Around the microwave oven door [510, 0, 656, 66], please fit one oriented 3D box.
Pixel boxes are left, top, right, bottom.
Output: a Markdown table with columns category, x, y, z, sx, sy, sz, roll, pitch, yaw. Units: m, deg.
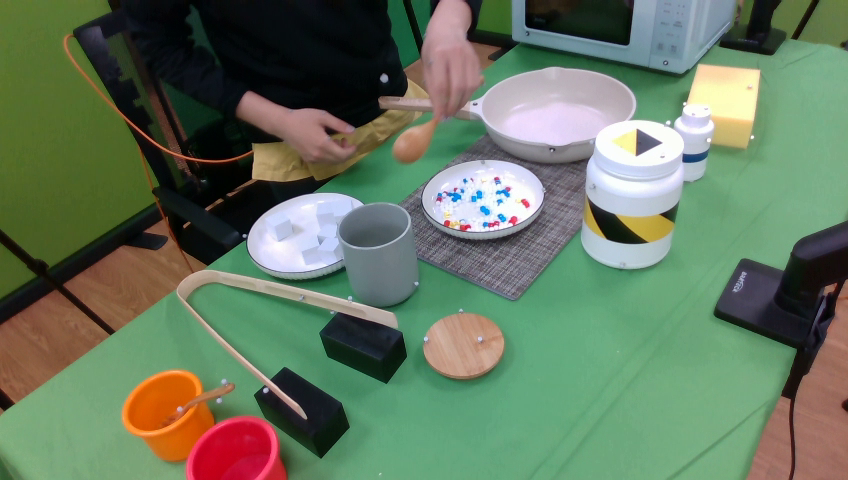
| category | x | y | z | sx | sy | sz | roll | pitch | yaw |
| --- | --- | --- | --- | --- | --- | --- | --- | --- | --- |
| microwave oven door | 0.350 | -0.539 | 1.349 | 0.353 | 0.245 | 0.039 | 24 | 50 | 31 |

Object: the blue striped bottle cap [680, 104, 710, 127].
| category | x | y | z | sx | sy | sz | roll | pitch | yaw |
| --- | --- | --- | --- | --- | --- | --- | --- | --- | --- |
| blue striped bottle cap | 0.443 | -0.205 | 0.989 | 0.044 | 0.021 | 0.044 | -1 | 41 | 2 |

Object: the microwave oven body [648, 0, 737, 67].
| category | x | y | z | sx | sy | sz | roll | pitch | yaw |
| --- | --- | --- | --- | --- | --- | --- | --- | --- | --- |
| microwave oven body | 0.475 | -0.602 | 1.411 | 0.438 | 0.261 | 0.327 | 23 | 50 | 32 |

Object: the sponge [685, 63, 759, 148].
| category | x | y | z | sx | sy | sz | roll | pitch | yaw |
| --- | --- | --- | --- | --- | --- | --- | --- | --- | --- |
| sponge | 0.569 | -0.263 | 1.164 | 0.117 | 0.061 | 0.207 | 12 | 45 | 22 |

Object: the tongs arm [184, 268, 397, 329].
| category | x | y | z | sx | sy | sz | roll | pitch | yaw |
| --- | --- | --- | --- | --- | --- | --- | --- | --- | --- |
| tongs arm | -0.202 | 0.084 | 0.848 | 0.382 | 0.027 | 0.051 | 11 | 45 | 34 |

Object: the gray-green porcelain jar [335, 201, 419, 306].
| category | x | y | z | sx | sy | sz | roll | pitch | yaw |
| --- | --- | --- | --- | --- | --- | --- | --- | --- | --- |
| gray-green porcelain jar | -0.064 | 0.024 | 0.872 | 0.106 | 0.127 | 0.105 | -4 | 41 | 4 |

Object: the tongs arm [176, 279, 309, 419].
| category | x | y | z | sx | sy | sz | roll | pitch | yaw |
| --- | --- | --- | --- | --- | --- | --- | --- | --- | --- |
| tongs arm | -0.254 | 0.133 | 0.801 | 0.028 | 0.028 | 0.384 | -41 | 41 | -23 |

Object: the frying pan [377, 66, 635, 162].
| category | x | y | z | sx | sy | sz | roll | pitch | yaw |
| --- | --- | --- | --- | --- | --- | --- | --- | --- | --- |
| frying pan | 0.150 | -0.255 | 1.177 | 0.488 | 0.103 | 0.306 | 7 | 41 | 4 |

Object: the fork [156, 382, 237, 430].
| category | x | y | z | sx | sy | sz | roll | pitch | yaw |
| --- | --- | --- | --- | --- | --- | --- | --- | --- | --- |
| fork | -0.262 | 0.189 | 0.690 | 0.206 | 0.018 | 0.028 | -34 | 9 | 42 |

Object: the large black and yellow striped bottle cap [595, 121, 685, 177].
| category | x | y | z | sx | sy | sz | roll | pitch | yaw |
| --- | --- | --- | --- | --- | --- | --- | --- | --- | --- |
| large black and yellow striped bottle cap | 0.292 | -0.126 | 0.821 | 0.115 | 0.019 | 0.114 | -5 | 40 | 4 |

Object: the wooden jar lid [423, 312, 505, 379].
| category | x | y | z | sx | sy | sz | roll | pitch | yaw |
| --- | --- | --- | --- | --- | --- | --- | --- | --- | --- |
| wooden jar lid | 0.053 | 0.142 | 0.800 | 0.108 | 0.021 | 0.108 | -5 | 39 | 4 |

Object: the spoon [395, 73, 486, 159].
| category | x | y | z | sx | sy | sz | roll | pitch | yaw |
| --- | --- | --- | --- | --- | --- | --- | --- | --- | --- |
| spoon | 0.027 | -0.174 | 0.817 | 0.021 | 0.042 | 0.194 | -1 | 40 | 48 |

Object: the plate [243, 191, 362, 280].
| category | x | y | z | sx | sy | sz | roll | pitch | yaw |
| --- | --- | --- | --- | --- | --- | --- | --- | --- | --- |
| plate | -0.188 | -0.005 | 0.992 | 0.207 | 0.039 | 0.206 | -3 | 41 | 3 |

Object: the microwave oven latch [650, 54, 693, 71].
| category | x | y | z | sx | sy | sz | roll | pitch | yaw |
| --- | --- | --- | --- | --- | --- | --- | --- | --- | --- |
| microwave oven latch | 0.531 | -0.386 | 1.301 | 0.078 | 0.029 | 0.030 | 26 | 51 | 33 |

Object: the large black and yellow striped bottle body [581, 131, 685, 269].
| category | x | y | z | sx | sy | sz | roll | pitch | yaw |
| --- | --- | --- | --- | --- | --- | --- | --- | --- | --- |
| large black and yellow striped bottle body | 0.301 | -0.063 | 0.878 | 0.131 | 0.185 | 0.130 | -4 | 41 | 4 |

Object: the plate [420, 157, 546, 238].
| category | x | y | z | sx | sy | sz | roll | pitch | yaw |
| --- | --- | --- | --- | --- | --- | --- | --- | --- | --- |
| plate | 0.099 | -0.067 | 1.017 | 0.209 | 0.038 | 0.208 | -4 | 40 | 4 |

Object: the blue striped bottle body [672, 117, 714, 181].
| category | x | y | z | sx | sy | sz | roll | pitch | yaw |
| --- | --- | --- | --- | --- | --- | --- | --- | --- | --- |
| blue striped bottle body | 0.449 | -0.165 | 1.022 | 0.063 | 0.121 | 0.063 | -5 | 41 | 4 |
